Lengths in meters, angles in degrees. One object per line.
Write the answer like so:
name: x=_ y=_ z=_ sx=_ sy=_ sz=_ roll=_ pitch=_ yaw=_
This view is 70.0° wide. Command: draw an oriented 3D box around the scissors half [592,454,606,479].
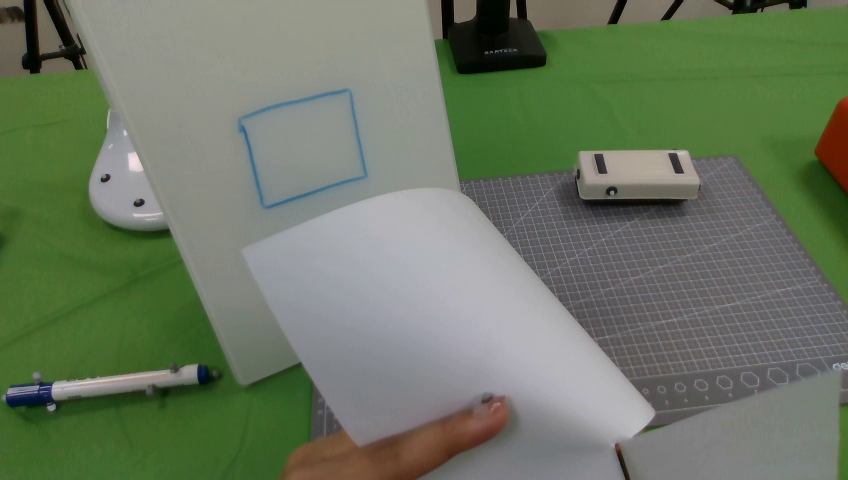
scissors half: x=0.100 y=0.158 z=0.242 sx=0.013 sy=0.175 sz=0.040 roll=-24 pitch=9 yaw=7

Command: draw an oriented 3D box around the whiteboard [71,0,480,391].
whiteboard: x=-0.102 y=-0.076 z=0.493 sx=0.217 sy=0.308 sz=0.142 roll=-21 pitch=29 yaw=-16

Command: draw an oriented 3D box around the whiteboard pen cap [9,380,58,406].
whiteboard pen cap: x=-0.297 y=0.117 z=0.466 sx=0.033 sy=0.018 sz=0.018 roll=-4 pitch=45 yaw=-10

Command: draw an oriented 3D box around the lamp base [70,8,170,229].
lamp base: x=-0.285 y=-0.128 z=0.601 sx=0.178 sy=0.182 sz=0.160 roll=24 pitch=51 yaw=28

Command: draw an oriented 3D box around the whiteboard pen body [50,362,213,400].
whiteboard pen body: x=-0.239 y=0.111 z=0.473 sx=0.141 sy=0.017 sz=0.017 roll=-6 pitch=45 yaw=-8

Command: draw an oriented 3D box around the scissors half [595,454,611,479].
scissors half: x=0.100 y=0.152 z=0.262 sx=0.013 sy=0.176 sz=0.040 roll=-26 pitch=26 yaw=2

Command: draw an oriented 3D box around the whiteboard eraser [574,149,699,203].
whiteboard eraser: x=0.210 y=-0.063 z=0.606 sx=0.112 sy=0.042 sz=0.055 roll=-1 pitch=44 yaw=2

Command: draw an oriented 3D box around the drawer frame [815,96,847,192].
drawer frame: x=0.518 y=-0.050 z=0.554 sx=0.202 sy=0.083 sz=0.211 roll=-5 pitch=45 yaw=-1

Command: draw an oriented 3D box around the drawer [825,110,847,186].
drawer: x=0.519 y=-0.045 z=0.550 sx=0.194 sy=0.074 sz=0.209 roll=-4 pitch=45 yaw=0
